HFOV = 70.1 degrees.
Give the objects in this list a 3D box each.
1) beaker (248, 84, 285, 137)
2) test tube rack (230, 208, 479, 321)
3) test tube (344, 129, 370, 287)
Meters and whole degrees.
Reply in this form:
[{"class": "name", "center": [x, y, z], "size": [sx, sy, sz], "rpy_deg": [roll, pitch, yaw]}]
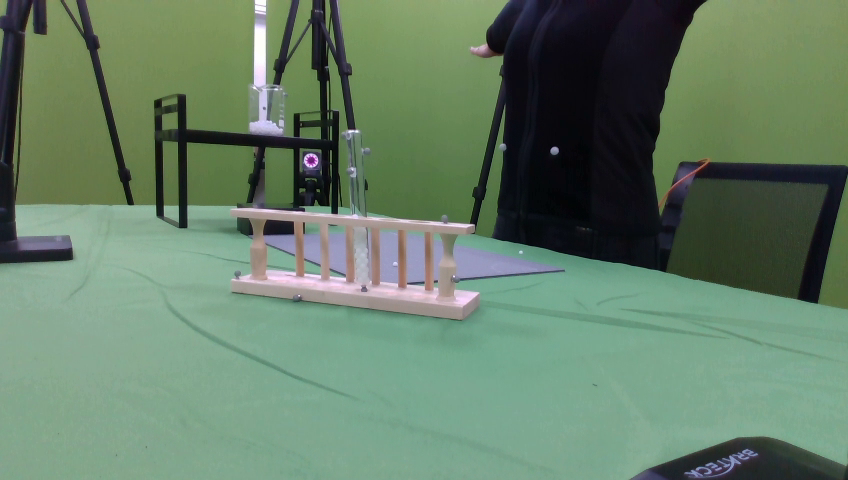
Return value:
[{"class": "beaker", "center": [-0.321, -0.261, 1.225], "size": [0.074, 0.100, 0.084], "rpy_deg": [3, 8, 3]}, {"class": "test tube rack", "center": [-0.069, 0.017, 0.598], "size": [0.242, 0.085, 0.067], "rpy_deg": [5, 8, 18]}, {"class": "test tube", "center": [-0.063, -0.029, 0.571], "size": [0.017, 0.150, 0.017], "rpy_deg": [-3, 9, 1]}]
